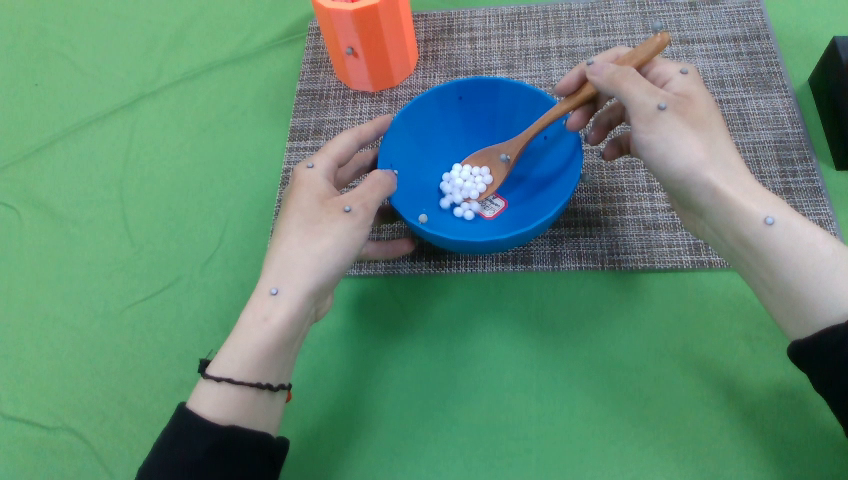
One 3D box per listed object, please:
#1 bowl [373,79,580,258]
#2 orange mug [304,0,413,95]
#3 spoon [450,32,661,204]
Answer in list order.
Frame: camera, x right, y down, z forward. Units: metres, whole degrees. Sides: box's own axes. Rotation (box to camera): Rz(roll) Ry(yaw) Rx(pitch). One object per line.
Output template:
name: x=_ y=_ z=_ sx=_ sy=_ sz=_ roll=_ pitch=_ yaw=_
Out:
bowl: x=0.041 y=-0.043 z=0.472 sx=0.151 sy=0.077 sz=0.150 roll=-3 pitch=61 yaw=5
orange mug: x=-0.055 y=-0.217 z=0.569 sx=0.083 sy=0.101 sz=0.125 roll=9 pitch=67 yaw=13
spoon: x=0.084 y=-0.081 z=0.432 sx=0.022 sy=0.194 sz=0.041 roll=25 pitch=49 yaw=-24
